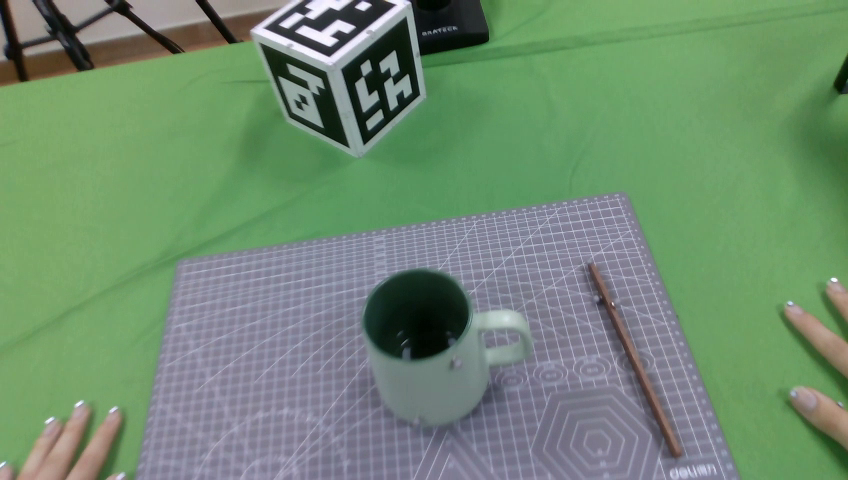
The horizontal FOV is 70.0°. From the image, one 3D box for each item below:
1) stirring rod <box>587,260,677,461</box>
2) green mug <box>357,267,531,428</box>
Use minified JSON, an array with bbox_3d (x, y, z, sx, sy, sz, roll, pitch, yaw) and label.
[{"bbox_3d":[0.160,0.087,0.476,0.006,0.014,0.174,-9,52,-4],"label":"stirring rod"},{"bbox_3d":[0.016,0.079,0.449,0.125,0.106,0.091,-7,53,3],"label":"green mug"}]
